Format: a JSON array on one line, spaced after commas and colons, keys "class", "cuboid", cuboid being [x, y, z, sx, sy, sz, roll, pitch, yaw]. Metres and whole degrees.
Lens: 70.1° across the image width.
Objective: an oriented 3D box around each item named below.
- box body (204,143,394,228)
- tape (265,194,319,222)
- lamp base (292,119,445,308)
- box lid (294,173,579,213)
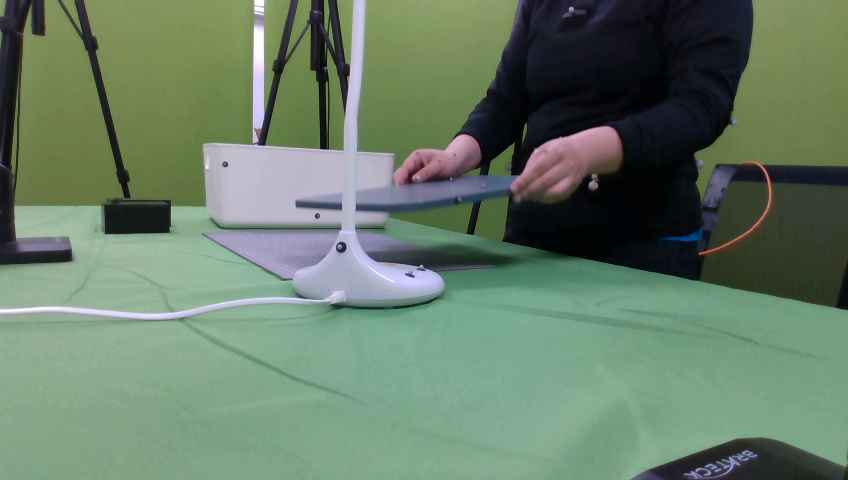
[{"class": "box body", "cuboid": [-0.271, -0.117, 1.291, 0.366, 0.160, 0.253, -1, 8, -25]}, {"class": "tape", "cuboid": [-0.284, -0.069, 1.298, 0.117, 0.052, 0.117, 3, 7, 0]}, {"class": "lamp base", "cuboid": [-0.056, -0.030, 0.616, 0.160, 0.180, 0.179, 4, 10, 8]}, {"class": "box lid", "cuboid": [0.023, -0.072, 0.888, 0.373, 0.015, 0.262, -12, 12, -41]}]
